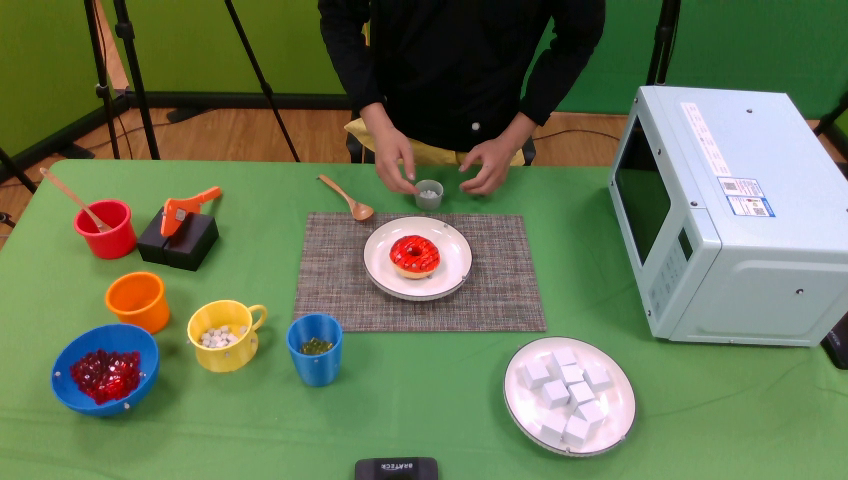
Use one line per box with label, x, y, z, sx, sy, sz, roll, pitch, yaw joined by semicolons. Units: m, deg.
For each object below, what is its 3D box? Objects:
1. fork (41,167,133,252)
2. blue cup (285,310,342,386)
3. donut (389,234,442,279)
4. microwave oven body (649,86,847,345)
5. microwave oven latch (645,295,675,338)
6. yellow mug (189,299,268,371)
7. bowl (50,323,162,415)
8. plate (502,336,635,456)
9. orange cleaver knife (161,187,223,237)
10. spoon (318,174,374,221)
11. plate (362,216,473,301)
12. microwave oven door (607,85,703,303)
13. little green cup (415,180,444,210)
fork;-0.624;-0.056;1.121;0.208;0.018;0.028;49;51;-15
blue cup;-0.170;0.179;0.958;0.093;0.101;0.092;2;44;-1
donut;-0.016;0.031;1.135;0.099;0.048;0.098;4;44;-3
microwave oven body;0.568;-0.053;1.118;0.326;0.261;0.439;2;45;-1
microwave oven latch;0.412;0.134;1.061;0.030;0.029;0.078;3;45;0
yellow mug;-0.316;0.148;1.002;0.131;0.064;0.099;-32;56;-31
bowl;-0.472;0.209;0.924;0.151;0.077;0.150;3;45;-2
plate;0.225;0.248;0.963;0.208;0.039;0.206;2;46;-2
orange cleaver knife;-0.448;-0.058;1.181;0.012;0.077;0.211;13;17;6
spoon;-0.168;-0.094;1.274;0.041;0.022;0.192;-39;57;-14
plate;-0.012;0.038;1.144;0.209;0.038;0.208;2;46;-2
microwave oven door;0.423;-0.094;1.140;0.039;0.245;0.353;2;46;-1
little green cup;0.011;-0.094;1.278;0.061;0.039;0.061;2;47;-2
